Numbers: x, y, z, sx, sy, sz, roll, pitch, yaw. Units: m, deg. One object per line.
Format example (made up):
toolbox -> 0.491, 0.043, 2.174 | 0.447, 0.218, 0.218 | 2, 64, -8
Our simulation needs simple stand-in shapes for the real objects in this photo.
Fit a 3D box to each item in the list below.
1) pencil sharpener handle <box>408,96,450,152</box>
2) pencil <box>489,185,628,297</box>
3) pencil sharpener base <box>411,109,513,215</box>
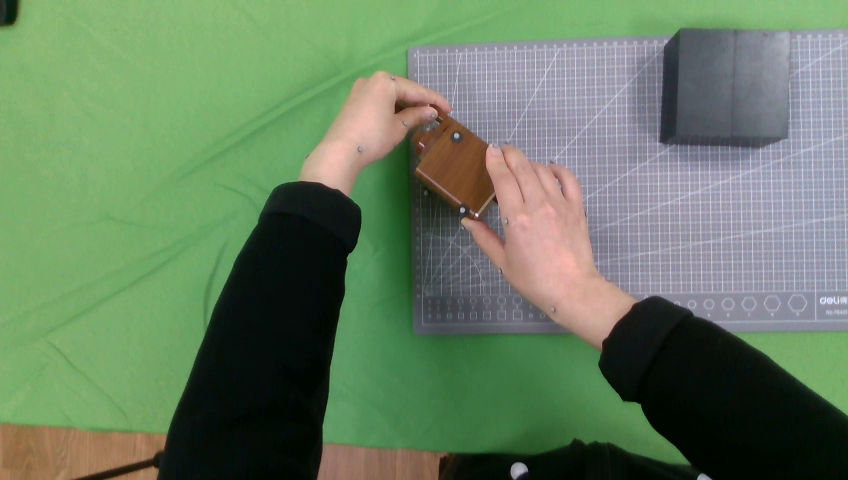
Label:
pencil sharpener handle -> -0.001, -0.110, 0.554 | 0.030, 0.067, 0.036 | 39, 132, 4
pencil -> 0.104, -0.011, 0.542 | 0.194, 0.012, 0.012 | 39, 93, 0
pencil sharpener base -> 0.034, -0.070, 0.568 | 0.076, 0.107, 0.061 | 39, 93, 4
